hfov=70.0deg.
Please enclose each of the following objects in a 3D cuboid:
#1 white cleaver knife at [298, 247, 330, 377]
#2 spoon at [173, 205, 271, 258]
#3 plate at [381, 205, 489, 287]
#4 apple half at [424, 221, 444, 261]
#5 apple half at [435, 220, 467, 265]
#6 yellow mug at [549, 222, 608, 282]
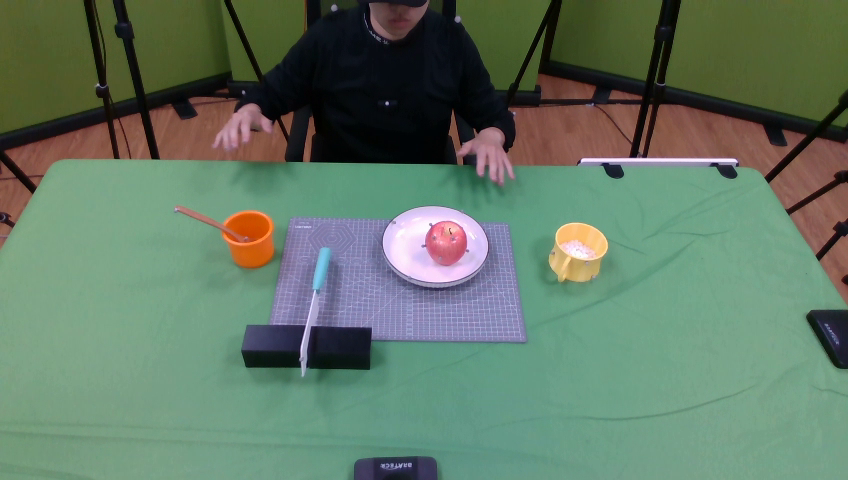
[{"bbox_3d":[-0.191,0.111,1.037,0.021,0.066,0.285,5,36,-2],"label":"white cleaver knife"},{"bbox_3d":[-0.362,-0.017,1.098,0.021,0.195,0.041,-32,42,27],"label":"spoon"},{"bbox_3d":[0.021,0.015,1.170,0.209,0.038,0.208,2,46,-2],"label":"plate"},{"bbox_3d":[0.015,0.002,1.145,0.033,0.081,0.081,14,46,2],"label":"apple half"},{"bbox_3d":[0.054,0.009,1.142,0.053,0.075,0.080,14,44,3],"label":"apple half"},{"bbox_3d":[0.287,0.031,1.159,0.099,0.064,0.130,27,51,21],"label":"yellow mug"}]
